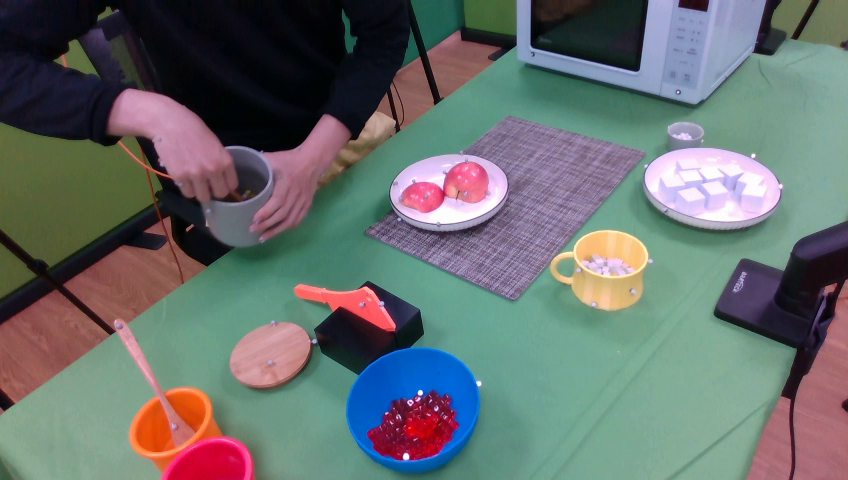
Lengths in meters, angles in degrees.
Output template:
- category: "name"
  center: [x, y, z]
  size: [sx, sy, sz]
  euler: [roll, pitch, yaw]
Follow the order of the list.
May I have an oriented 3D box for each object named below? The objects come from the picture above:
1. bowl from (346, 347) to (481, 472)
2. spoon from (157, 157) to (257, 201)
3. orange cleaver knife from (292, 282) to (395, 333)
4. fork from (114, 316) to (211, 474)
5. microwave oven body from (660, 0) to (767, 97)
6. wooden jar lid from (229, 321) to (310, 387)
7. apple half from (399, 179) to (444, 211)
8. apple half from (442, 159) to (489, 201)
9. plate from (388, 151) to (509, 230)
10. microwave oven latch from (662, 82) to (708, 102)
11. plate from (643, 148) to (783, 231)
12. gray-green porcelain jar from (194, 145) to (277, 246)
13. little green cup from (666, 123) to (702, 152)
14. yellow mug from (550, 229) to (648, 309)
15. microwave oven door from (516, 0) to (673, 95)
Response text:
- category: "bowl"
  center: [-0.008, 0.205, 0.691]
  size: [0.151, 0.077, 0.150]
  euler: [-4, 40, 4]
- category: "spoon"
  center: [-0.285, -0.080, 0.847]
  size: [0.021, 0.195, 0.041]
  euler: [-41, 56, 13]
- category: "orange cleaver knife"
  center: [-0.116, 0.091, 0.835]
  size: [0.209, 0.077, 0.012]
  euler: [1, 31, 48]
- category: "fork"
  center: [-0.309, 0.179, 0.708]
  size: [0.028, 0.018, 0.207]
  euler: [-30, 89, -24]
- category: "microwave oven body"
  center: [0.473, -0.517, 1.313]
  size: [0.438, 0.261, 0.327]
  euler: [26, 52, 34]
- category: "wooden jar lid"
  center: [-0.207, 0.156, 0.820]
  size: [0.108, 0.021, 0.108]
  euler: [-3, 39, 3]
- category: "apple half"
  center: [-0.004, -0.088, 1.045]
  size: [0.081, 0.033, 0.081]
  euler: [-2, 43, 2]
- category: "apple half"
  center: [0.074, -0.110, 1.047]
  size: [0.080, 0.053, 0.075]
  euler: [21, 46, 30]
- category: "plate"
  center: [0.043, -0.082, 1.042]
  size: [0.209, 0.038, 0.208]
  euler: [-4, 40, 4]
- category: "microwave oven latch"
  center: [0.518, -0.299, 1.203]
  size: [0.078, 0.029, 0.030]
  euler: [30, 54, 36]
- category: "plate"
  center: [0.464, -0.079, 0.986]
  size: [0.207, 0.039, 0.206]
  euler: [-4, 40, 4]
- category: "gray-green porcelain jar"
  center: [-0.272, -0.060, 0.889]
  size: [0.106, 0.126, 0.105]
  euler: [4, 58, -7]
- category: "little green cup"
  center: [0.472, -0.183, 1.102]
  size: [0.061, 0.039, 0.061]
  euler: [-5, 41, 5]
- category: "yellow mug"
  center: [0.245, 0.040, 0.856]
  size: [0.130, 0.064, 0.099]
  euler: [1, 41, 11]
- category: "microwave oven door"
  center: [0.344, -0.458, 1.256]
  size: [0.353, 0.245, 0.039]
  euler: [26, 51, 33]
